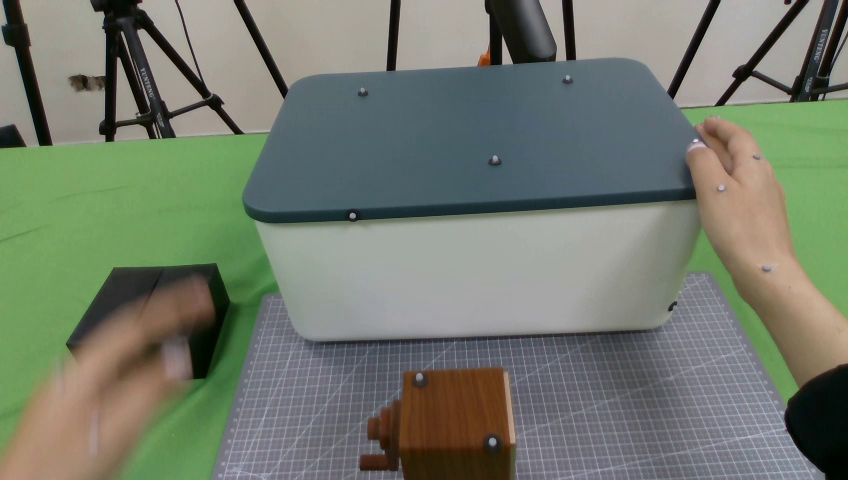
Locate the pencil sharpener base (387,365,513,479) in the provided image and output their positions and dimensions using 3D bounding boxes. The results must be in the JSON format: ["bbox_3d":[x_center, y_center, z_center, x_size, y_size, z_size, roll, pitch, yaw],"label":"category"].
[{"bbox_3d":[0.018,0.140,0.408,0.076,0.108,0.061,-2,40,3],"label":"pencil sharpener base"}]

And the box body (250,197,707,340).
[{"bbox_3d":[0.046,-0.043,0.592,0.364,0.162,0.251,-3,38,2],"label":"box body"}]

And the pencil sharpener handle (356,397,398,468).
[{"bbox_3d":[-0.033,0.133,0.403,0.030,0.068,0.035,-2,41,3],"label":"pencil sharpener handle"}]

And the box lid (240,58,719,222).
[{"bbox_3d":[0.039,-0.102,0.546,0.371,0.015,0.260,-3,37,2],"label":"box lid"}]
